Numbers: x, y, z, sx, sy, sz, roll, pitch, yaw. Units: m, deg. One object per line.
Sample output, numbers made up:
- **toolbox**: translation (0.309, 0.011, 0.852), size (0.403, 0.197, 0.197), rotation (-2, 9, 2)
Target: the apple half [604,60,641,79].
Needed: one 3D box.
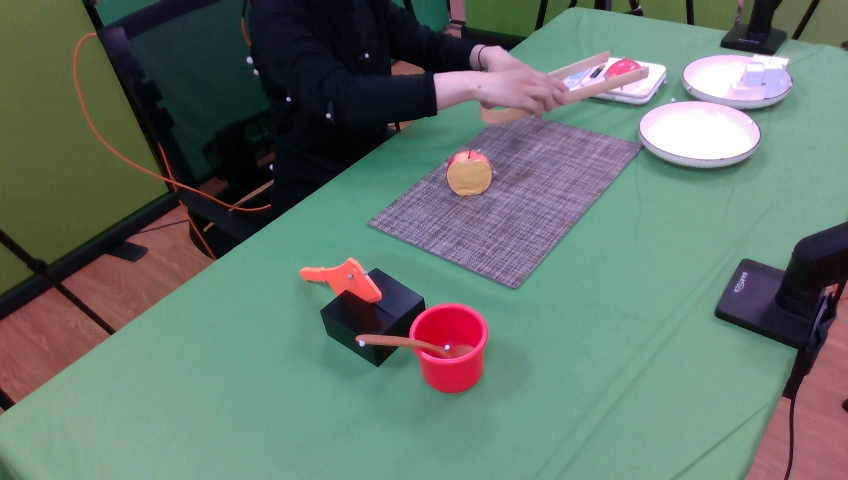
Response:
- **apple half**: translation (0.424, -0.362, 1.282), size (0.081, 0.033, 0.081), rotation (-3, 40, 3)

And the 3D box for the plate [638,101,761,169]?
- **plate**: translation (0.500, -0.189, 1.111), size (0.209, 0.038, 0.208), rotation (-4, 41, 4)

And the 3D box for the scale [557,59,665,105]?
- **scale**: translation (0.406, -0.348, 1.314), size (0.199, 0.032, 0.149), rotation (19, 47, 28)

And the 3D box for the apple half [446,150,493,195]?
- **apple half**: translation (0.080, -0.123, 1.065), size (0.081, 0.075, 0.053), rotation (-7, 37, 7)

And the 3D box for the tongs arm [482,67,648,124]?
- **tongs arm**: translation (0.282, -0.287, 1.174), size (0.387, 0.026, 0.050), rotation (-22, 42, -24)

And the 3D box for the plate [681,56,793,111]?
- **plate**: translation (0.636, -0.317, 1.239), size (0.207, 0.039, 0.206), rotation (-4, 40, 4)

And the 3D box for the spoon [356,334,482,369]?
- **spoon**: translation (-0.002, 0.130, 0.731), size (0.195, 0.021, 0.041), rotation (21, 28, -39)

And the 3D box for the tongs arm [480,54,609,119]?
- **tongs arm**: translation (0.249, -0.315, 1.214), size (0.389, 0.028, 0.028), rotation (-27, 48, -29)

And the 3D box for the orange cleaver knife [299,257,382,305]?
- **orange cleaver knife**: translation (-0.124, 0.062, 0.872), size (0.012, 0.077, 0.210), rotation (-38, 17, -30)
